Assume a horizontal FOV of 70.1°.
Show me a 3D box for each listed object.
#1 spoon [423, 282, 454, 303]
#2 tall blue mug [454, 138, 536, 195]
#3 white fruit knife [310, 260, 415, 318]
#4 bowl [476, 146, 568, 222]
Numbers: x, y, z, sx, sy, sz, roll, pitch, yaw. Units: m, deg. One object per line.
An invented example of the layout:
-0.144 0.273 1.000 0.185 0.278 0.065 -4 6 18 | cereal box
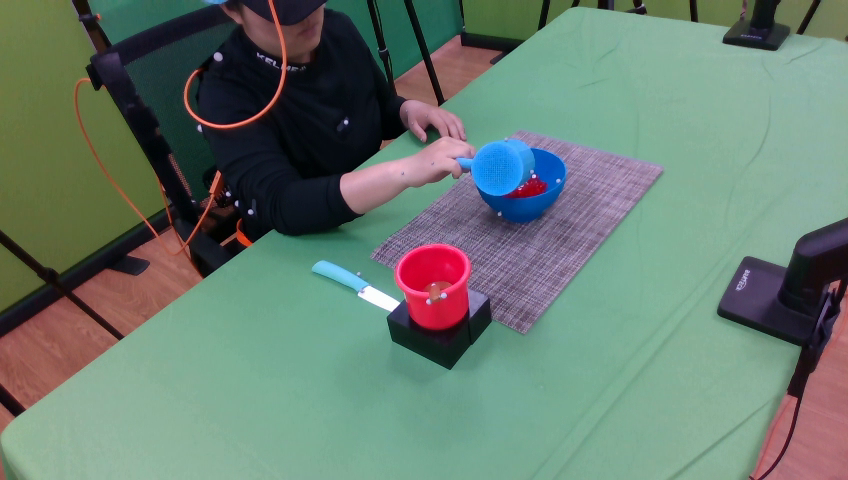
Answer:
0.015 0.062 0.733 0.041 0.021 0.194 -5 -4 3 | spoon
0.107 -0.119 0.895 0.107 0.077 0.108 36 20 8 | tall blue mug
-0.094 0.074 0.920 0.206 0.016 0.027 23 77 30 | white fruit knife
0.161 -0.083 1.000 0.151 0.077 0.150 -5 40 5 | bowl
